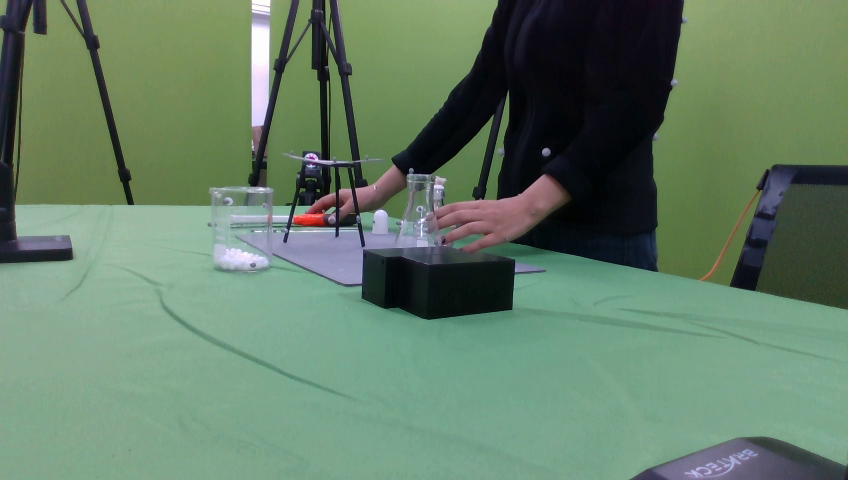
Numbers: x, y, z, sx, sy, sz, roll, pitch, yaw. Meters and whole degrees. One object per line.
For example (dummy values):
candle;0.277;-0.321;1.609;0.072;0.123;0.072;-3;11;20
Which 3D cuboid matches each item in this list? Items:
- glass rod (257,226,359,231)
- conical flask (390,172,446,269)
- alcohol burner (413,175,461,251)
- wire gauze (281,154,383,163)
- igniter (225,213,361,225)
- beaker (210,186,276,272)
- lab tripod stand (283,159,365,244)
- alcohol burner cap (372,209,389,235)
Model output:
glass rod;-0.216;-0.022;1.152;0.201;0.008;0.008;-2;8;-28
conical flask;-0.006;-0.027;0.790;0.075;0.122;0.075;2;7;0
alcohol burner;0.021;-0.043;0.957;0.078;0.119;0.078;1;6;0
wire gauze;-0.146;-0.130;0.977;0.124;0.011;0.122;9;10;41
igniter;-0.257;-0.042;1.221;0.278;0.025;0.057;-2;-2;-32
beaker;-0.224;-0.014;0.738;0.084;0.100;0.074;4;7;16
lab tripod stand;-0.151;-0.063;0.983;0.148;0.131;0.148;4;7;0
alcohol burner cap;-0.082;-0.035;1.143;0.034;0.048;0.034;2;6;0
